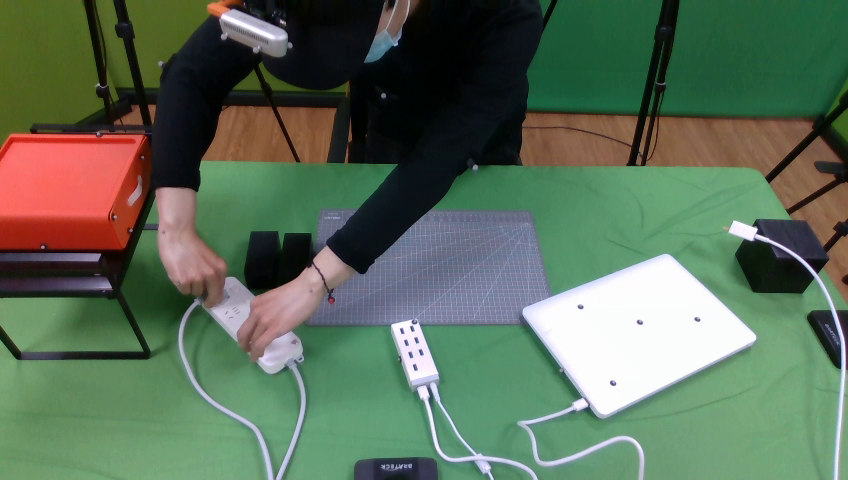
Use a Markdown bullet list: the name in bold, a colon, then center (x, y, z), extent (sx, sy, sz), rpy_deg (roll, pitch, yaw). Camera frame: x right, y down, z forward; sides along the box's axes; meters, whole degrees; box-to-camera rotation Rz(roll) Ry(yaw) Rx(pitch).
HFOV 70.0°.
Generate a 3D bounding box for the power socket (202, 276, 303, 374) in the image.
- **power socket**: center (-0.296, 0.141, 1.034), extent (0.225, 0.033, 0.072), rpy_deg (37, 55, 27)

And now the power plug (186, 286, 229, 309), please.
- **power plug**: center (-0.371, 0.103, 1.040), extent (0.072, 0.053, 0.035), rpy_deg (-26, 54, -21)

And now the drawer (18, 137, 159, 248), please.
- **drawer**: center (-0.549, -0.078, 0.945), extent (0.212, 0.073, 0.193), rpy_deg (0, 47, -3)

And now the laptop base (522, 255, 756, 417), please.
- **laptop base**: center (0.380, 0.157, 1.081), extent (0.355, 0.023, 0.234), rpy_deg (-18, 48, -21)

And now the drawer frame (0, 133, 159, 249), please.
- **drawer frame**: center (-0.553, -0.078, 0.942), extent (0.214, 0.083, 0.200), rpy_deg (-1, 47, -4)

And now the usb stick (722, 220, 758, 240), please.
- **usb stick**: center (0.593, -0.022, 1.139), extent (0.059, 0.027, 0.021), rpy_deg (22, 12, 28)

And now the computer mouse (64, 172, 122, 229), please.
- **computer mouse**: center (-0.521, -0.066, 0.955), extent (0.063, 0.041, 0.116), rpy_deg (1, 48, -9)

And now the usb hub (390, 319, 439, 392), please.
- **usb hub**: center (-0.016, 0.190, 1.013), extent (0.049, 0.025, 0.124), rpy_deg (-10, 48, -15)

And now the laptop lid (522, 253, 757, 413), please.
- **laptop lid**: center (0.380, 0.147, 1.073), extent (0.357, 0.013, 0.240), rpy_deg (-17, 48, -19)
